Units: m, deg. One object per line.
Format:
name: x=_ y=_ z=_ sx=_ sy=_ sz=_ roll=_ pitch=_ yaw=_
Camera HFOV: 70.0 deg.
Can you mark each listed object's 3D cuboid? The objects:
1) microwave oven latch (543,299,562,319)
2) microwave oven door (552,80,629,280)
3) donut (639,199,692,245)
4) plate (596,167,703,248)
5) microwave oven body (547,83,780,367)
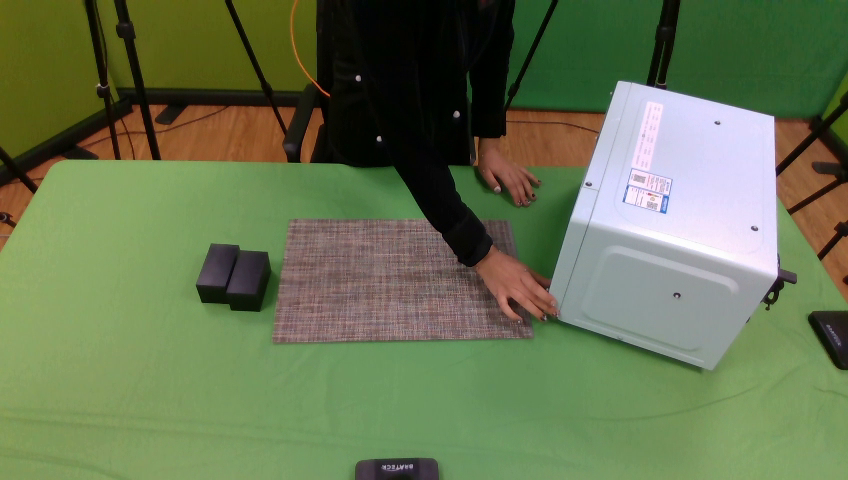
microwave oven latch: x=0.243 y=0.104 z=1.081 sx=0.030 sy=0.029 sz=0.079 roll=32 pitch=52 yaw=26
microwave oven door: x=0.324 y=-0.116 z=1.156 sx=0.039 sy=0.245 sz=0.354 roll=18 pitch=48 yaw=13
donut: x=0.461 y=-0.035 z=1.159 sx=0.099 sy=0.048 sz=0.098 roll=2 pitch=62 yaw=-4
plate: x=0.432 y=-0.060 z=1.177 sx=0.209 sy=0.038 sz=0.208 roll=7 pitch=47 yaw=-7
microwave oven body: x=0.445 y=-0.041 z=1.100 sx=0.325 sy=0.261 sz=0.440 roll=17 pitch=47 yaw=13
